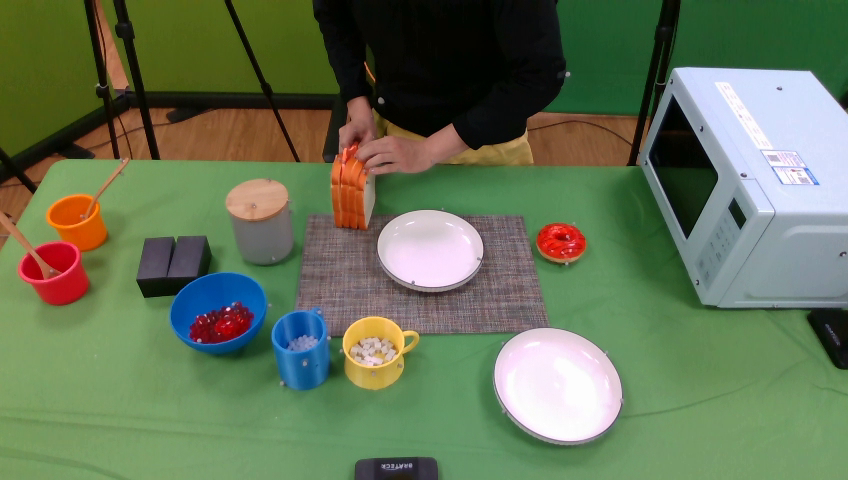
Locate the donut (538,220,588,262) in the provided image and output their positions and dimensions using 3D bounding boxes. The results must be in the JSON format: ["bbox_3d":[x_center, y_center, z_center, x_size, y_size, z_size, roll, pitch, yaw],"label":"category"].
[{"bbox_3d":[0.273,0.000,1.198,0.099,0.048,0.098,1,47,0],"label":"donut"}]

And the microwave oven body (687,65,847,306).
[{"bbox_3d":[0.669,-0.111,1.176,0.326,0.261,0.439,0,46,-3],"label":"microwave oven body"}]

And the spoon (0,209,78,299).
[{"bbox_3d":[-0.668,0.021,1.040,0.041,0.021,0.194,-41,105,-30],"label":"spoon"}]

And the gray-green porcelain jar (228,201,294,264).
[{"bbox_3d":[-0.299,-0.027,1.126,0.106,0.127,0.105,2,46,-2],"label":"gray-green porcelain jar"}]

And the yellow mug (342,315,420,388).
[{"bbox_3d":[-0.068,0.177,0.990,0.131,0.064,0.099,-15,50,-19],"label":"yellow mug"}]

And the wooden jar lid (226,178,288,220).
[{"bbox_3d":[-0.296,-0.070,1.081,0.108,0.021,0.107,1,45,0],"label":"wooden jar lid"}]

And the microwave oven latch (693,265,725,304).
[{"bbox_3d":[0.523,0.081,1.116,0.030,0.029,0.078,2,46,-1],"label":"microwave oven latch"}]

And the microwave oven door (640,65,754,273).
[{"bbox_3d":[0.523,-0.147,1.193,0.039,0.245,0.353,0,47,-3],"label":"microwave oven door"}]

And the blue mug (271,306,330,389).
[{"bbox_3d":[-0.188,0.163,0.969,0.082,0.106,0.116,15,47,10],"label":"blue mug"}]

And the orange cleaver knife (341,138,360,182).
[{"bbox_3d":[-0.153,-0.170,1.259,0.012,0.077,0.210,5,18,0],"label":"orange cleaver knife"}]

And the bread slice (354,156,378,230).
[{"bbox_3d":[-0.115,-0.099,1.209,0.018,0.135,0.106,13,48,5],"label":"bread slice"}]

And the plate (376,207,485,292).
[{"bbox_3d":[0.012,0.021,1.159,0.209,0.038,0.208,2,47,-2],"label":"plate"}]

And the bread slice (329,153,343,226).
[{"bbox_3d":[-0.175,-0.110,1.215,0.019,0.132,0.104,6,38,-6],"label":"bread slice"}]

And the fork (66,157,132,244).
[{"bbox_3d":[-0.608,-0.074,1.132,0.207,0.019,0.028,-52,48,10],"label":"fork"}]

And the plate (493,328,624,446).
[{"bbox_3d":[0.213,0.236,0.974,0.208,0.039,0.206,2,46,-2],"label":"plate"}]

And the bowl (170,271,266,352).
[{"bbox_3d":[-0.333,0.132,1.006,0.151,0.077,0.150,2,46,-2],"label":"bowl"}]
